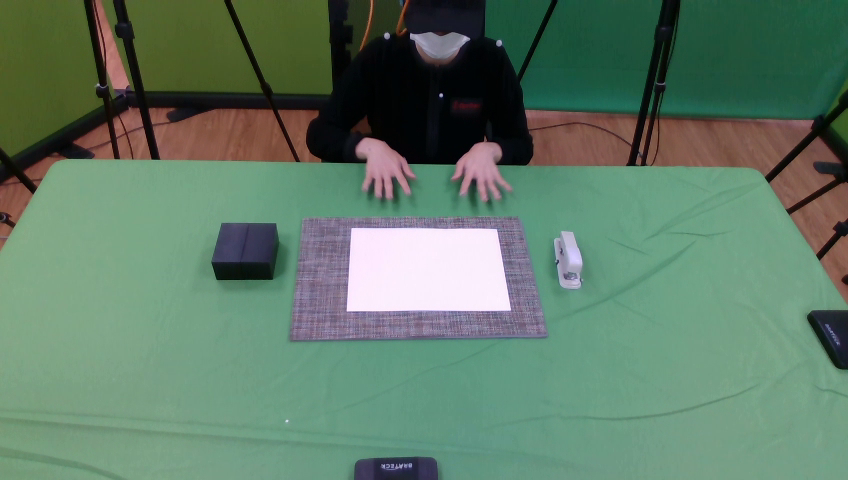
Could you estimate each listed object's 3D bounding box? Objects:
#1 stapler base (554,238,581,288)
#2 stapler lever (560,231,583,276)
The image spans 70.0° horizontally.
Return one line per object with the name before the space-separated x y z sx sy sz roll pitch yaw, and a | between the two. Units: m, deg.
stapler base | 0.282 0.038 1.181 0.041 0.024 0.130 5 44 -2
stapler lever | 0.282 0.019 1.165 0.027 0.040 0.117 5 44 -1
